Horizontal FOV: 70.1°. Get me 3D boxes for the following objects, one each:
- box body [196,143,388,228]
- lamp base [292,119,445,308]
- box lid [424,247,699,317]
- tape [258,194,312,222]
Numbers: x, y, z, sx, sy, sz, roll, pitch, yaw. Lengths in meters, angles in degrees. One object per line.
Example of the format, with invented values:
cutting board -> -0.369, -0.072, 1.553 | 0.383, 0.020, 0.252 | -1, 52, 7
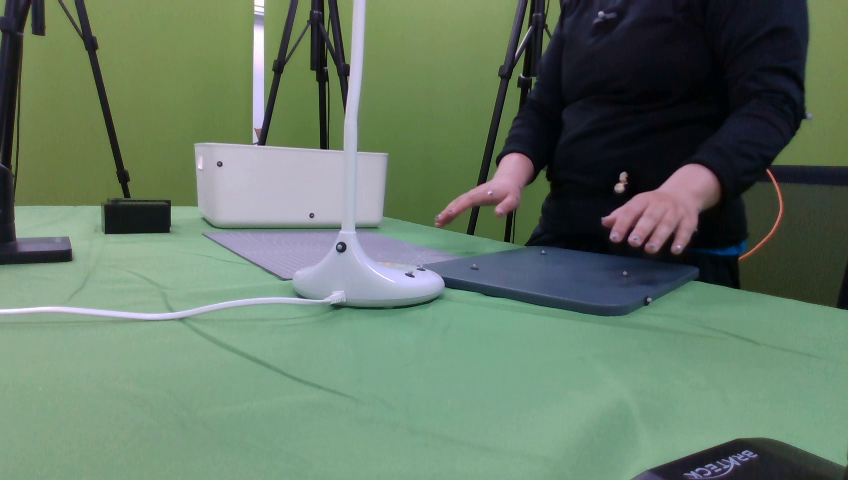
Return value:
box body -> -0.286, -0.118, 1.291 | 0.366, 0.160, 0.253 | -1, 8, -27
lamp base -> -0.056, -0.030, 0.616 | 0.160, 0.180, 0.179 | 3, 10, 8
box lid -> 0.184, 0.044, 0.789 | 0.262, 0.015, 0.373 | 8, 9, 35
tape -> -0.299, -0.070, 1.297 | 0.117, 0.052, 0.117 | 2, 7, 0
